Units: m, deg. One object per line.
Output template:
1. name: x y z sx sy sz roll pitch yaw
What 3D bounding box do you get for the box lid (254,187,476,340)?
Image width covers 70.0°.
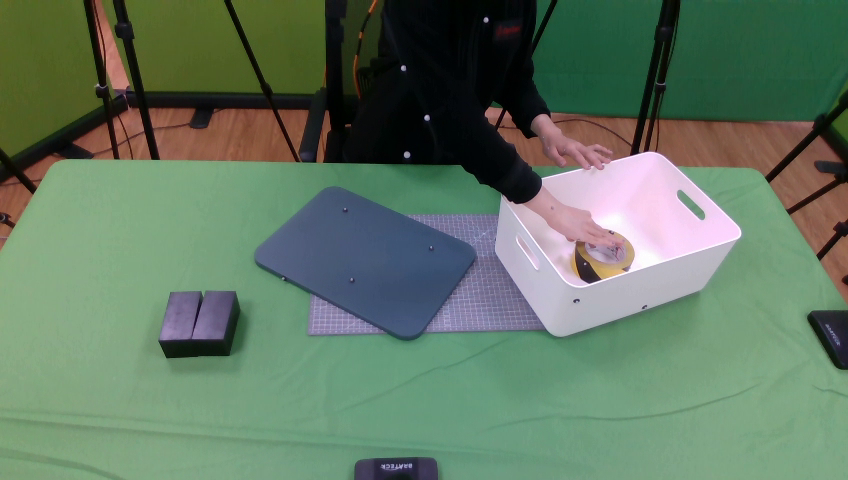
1. box lid: -0.112 0.028 1.168 0.370 0.015 0.262 24 49 19

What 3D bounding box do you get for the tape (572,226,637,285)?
1. tape: 0.344 0.032 1.158 0.117 0.053 0.116 2 46 -2

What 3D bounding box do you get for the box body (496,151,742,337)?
1. box body: 0.340 0.003 1.118 0.364 0.161 0.252 -15 49 -18
